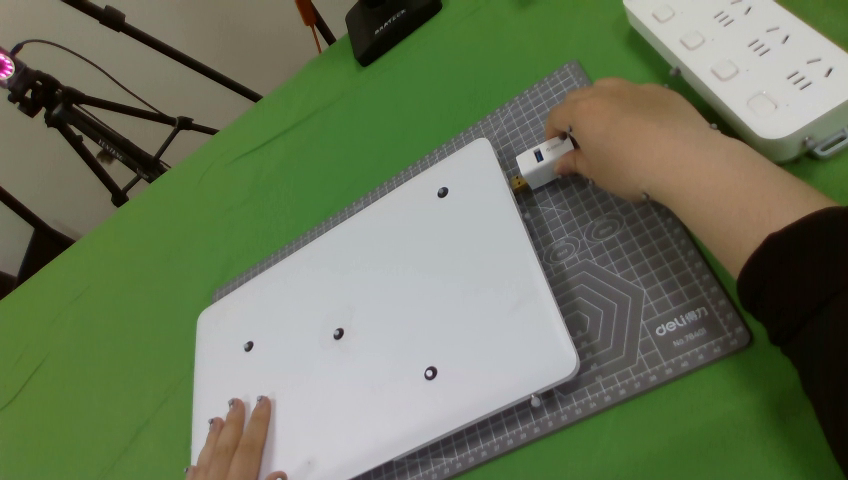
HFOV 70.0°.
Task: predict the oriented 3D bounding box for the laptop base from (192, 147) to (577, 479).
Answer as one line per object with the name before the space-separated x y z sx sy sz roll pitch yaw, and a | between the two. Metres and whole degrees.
laptop base | -0.064 0.089 0.511 0.354 0.023 0.233 -31 50 17

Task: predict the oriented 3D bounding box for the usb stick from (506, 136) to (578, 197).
usb stick | 0.088 -0.055 0.476 0.059 0.027 0.021 -30 50 23

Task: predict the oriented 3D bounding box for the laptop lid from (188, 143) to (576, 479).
laptop lid | -0.070 0.085 0.501 0.356 0.013 0.239 -30 49 19

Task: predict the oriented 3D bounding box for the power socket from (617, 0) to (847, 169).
power socket | 0.217 -0.136 0.438 0.072 0.033 0.224 -33 46 14
